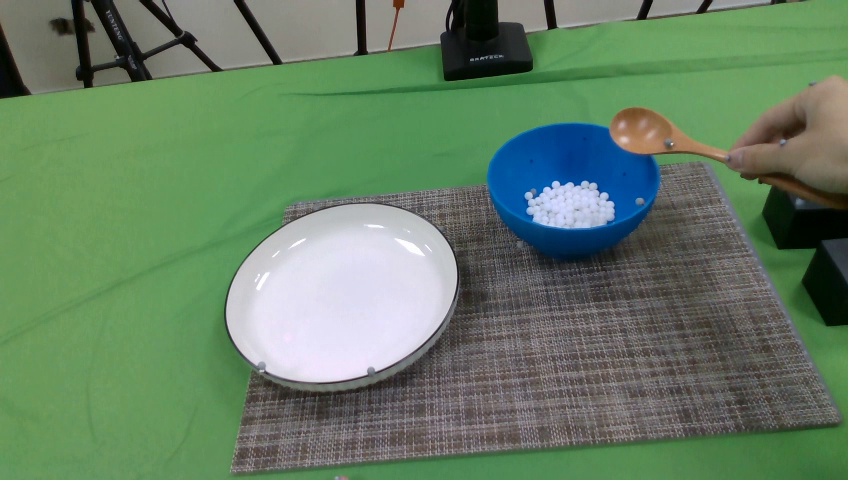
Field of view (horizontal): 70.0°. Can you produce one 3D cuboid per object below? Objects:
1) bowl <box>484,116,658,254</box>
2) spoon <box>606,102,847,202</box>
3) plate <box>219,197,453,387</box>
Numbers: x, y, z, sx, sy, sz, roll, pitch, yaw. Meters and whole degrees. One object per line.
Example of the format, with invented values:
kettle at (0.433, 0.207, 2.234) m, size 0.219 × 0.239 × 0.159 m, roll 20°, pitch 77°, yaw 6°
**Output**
bowl at (0.133, -0.040, 0.564) m, size 0.151 × 0.077 × 0.150 m, roll -4°, pitch 46°, yaw 5°
spoon at (0.223, -0.068, 0.469) m, size 0.041 × 0.022 × 0.191 m, roll -53°, pitch 45°, yaw -2°
plate at (-0.076, 0.045, 0.546) m, size 0.207 × 0.039 × 0.205 m, roll -4°, pitch 46°, yaw 5°
